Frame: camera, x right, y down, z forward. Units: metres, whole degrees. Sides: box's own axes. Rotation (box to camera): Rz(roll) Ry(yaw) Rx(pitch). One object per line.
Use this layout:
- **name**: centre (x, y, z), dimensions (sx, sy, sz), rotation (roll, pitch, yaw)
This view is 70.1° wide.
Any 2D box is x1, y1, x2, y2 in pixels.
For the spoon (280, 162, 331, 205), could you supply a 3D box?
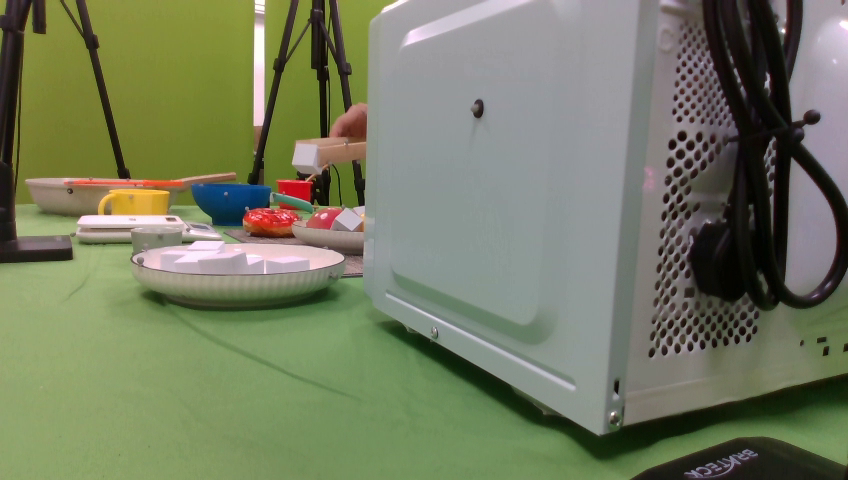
- **spoon**: centre (-0.317, -0.159, 1.640), dimensions (0.194, 0.022, 0.041), rotation (-49, 32, -20)

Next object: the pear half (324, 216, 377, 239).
- **pear half**: centre (-0.119, -0.023, 0.996), dimensions (0.088, 0.031, 0.070), rotation (-4, 23, -28)

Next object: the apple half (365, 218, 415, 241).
- **apple half**: centre (-0.053, -0.019, 0.966), dimensions (0.081, 0.033, 0.081), rotation (-3, 9, 1)

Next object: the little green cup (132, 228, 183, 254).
- **little green cup**: centre (-0.342, 0.006, 0.779), dimensions (0.061, 0.038, 0.061), rotation (2, 8, 0)

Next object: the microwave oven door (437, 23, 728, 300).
- **microwave oven door**: centre (0.180, -0.072, 0.621), dimensions (0.358, 0.243, 0.039), rotation (-2, 8, -29)

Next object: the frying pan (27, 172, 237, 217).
- **frying pan**: centre (-0.624, -0.118, 1.387), dimensions (0.305, 0.102, 0.490), rotation (8, 17, 32)

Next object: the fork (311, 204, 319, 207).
- **fork**: centre (-0.356, -0.105, 1.526), dimensions (0.208, 0.018, 0.028), rotation (16, -5, -41)

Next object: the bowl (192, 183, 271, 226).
- **bowl**: centre (-0.382, -0.071, 1.202), dimensions (0.151, 0.077, 0.151), rotation (3, 7, 0)

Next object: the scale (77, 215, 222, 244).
- **scale**: centre (-0.434, -0.019, 0.963), dimensions (0.202, 0.031, 0.148), rotation (-1, 9, -27)

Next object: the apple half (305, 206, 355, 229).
- **apple half**: centre (-0.138, -0.025, 0.917), dimensions (0.081, 0.053, 0.074), rotation (0, 10, -43)

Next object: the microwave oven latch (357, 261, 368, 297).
- **microwave oven latch**: centre (-0.019, 0.033, 0.531), dimensions (0.079, 0.029, 0.030), rotation (-1, 7, -27)

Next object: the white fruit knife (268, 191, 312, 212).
- **white fruit knife**: centre (-0.364, -0.105, 1.464), dimensions (0.208, 0.027, 0.016), rotation (15, -1, -34)

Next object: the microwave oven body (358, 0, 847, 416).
- **microwave oven body**: centre (0.211, -0.047, 0.475), dimensions (0.444, 0.260, 0.324), rotation (-1, 7, -28)

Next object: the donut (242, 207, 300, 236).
- **donut**: centre (-0.263, -0.031, 1.039), dimensions (0.099, 0.048, 0.099), rotation (4, 10, 0)

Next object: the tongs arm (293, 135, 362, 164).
- **tongs arm**: centre (-0.112, -0.157, 0.998), dimensions (0.028, 0.028, 0.388), rotation (0, 13, 19)

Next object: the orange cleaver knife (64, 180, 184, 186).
- **orange cleaver knife**: centre (-0.595, -0.114, 1.212), dimensions (0.212, 0.012, 0.077), rotation (-4, 6, -41)

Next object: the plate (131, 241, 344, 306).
- **plate**: centre (-0.187, 0.033, 0.625), dimensions (0.208, 0.039, 0.207), rotation (2, 8, 0)

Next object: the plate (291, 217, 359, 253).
- **plate**: centre (-0.103, -0.009, 0.945), dimensions (0.209, 0.038, 0.209), rotation (2, 7, 0)

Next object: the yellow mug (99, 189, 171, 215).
- **yellow mug**: centre (-0.519, -0.055, 1.080), dimensions (0.099, 0.064, 0.131), rotation (7, 9, 26)

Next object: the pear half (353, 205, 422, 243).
- **pear half**: centre (-0.051, -0.024, 0.905), dimensions (0.110, 0.056, 0.076), rotation (0, -1, -37)

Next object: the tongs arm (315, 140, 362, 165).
- **tongs arm**: centre (-0.090, -0.156, 0.991), dimensions (0.050, 0.026, 0.386), rotation (4, 14, 22)
